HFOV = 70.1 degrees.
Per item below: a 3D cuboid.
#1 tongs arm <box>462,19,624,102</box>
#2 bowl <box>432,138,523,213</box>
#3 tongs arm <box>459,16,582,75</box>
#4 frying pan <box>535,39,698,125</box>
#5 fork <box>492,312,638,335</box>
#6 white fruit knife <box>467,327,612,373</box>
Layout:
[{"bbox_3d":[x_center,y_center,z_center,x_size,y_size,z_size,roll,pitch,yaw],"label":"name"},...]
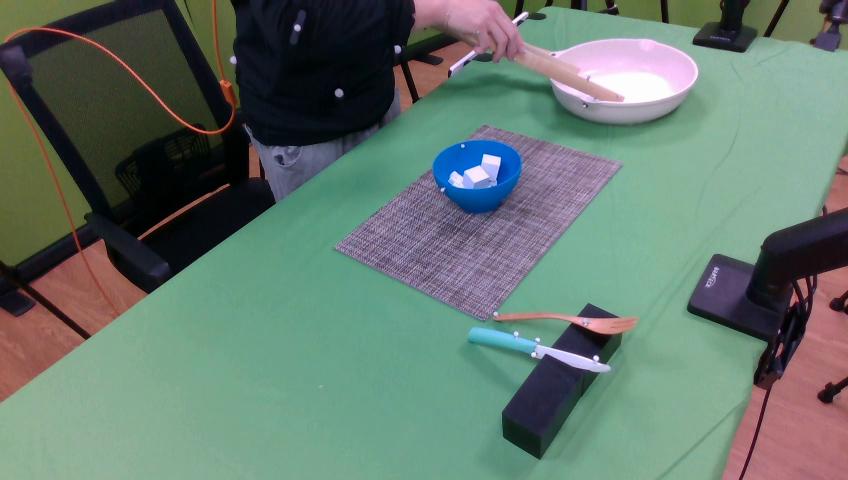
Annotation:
[{"bbox_3d":[0.229,-0.311,1.093,0.388,0.026,0.050,10,34,-37],"label":"tongs arm"},{"bbox_3d":[0.091,-0.099,1.021,0.151,0.077,0.150,-4,41,4],"label":"bowl"},{"bbox_3d":[0.195,-0.356,1.140,0.391,0.027,0.028,2,42,-46],"label":"tongs arm"},{"bbox_3d":[0.320,-0.371,1.290,0.485,0.103,0.307,28,50,23],"label":"frying pan"},{"bbox_3d":[0.173,0.103,0.774,0.206,0.019,0.028,0,38,40],"label":"fork"},{"bbox_3d":[0.134,0.134,0.742,0.205,0.027,0.016,7,35,41],"label":"white fruit knife"}]
